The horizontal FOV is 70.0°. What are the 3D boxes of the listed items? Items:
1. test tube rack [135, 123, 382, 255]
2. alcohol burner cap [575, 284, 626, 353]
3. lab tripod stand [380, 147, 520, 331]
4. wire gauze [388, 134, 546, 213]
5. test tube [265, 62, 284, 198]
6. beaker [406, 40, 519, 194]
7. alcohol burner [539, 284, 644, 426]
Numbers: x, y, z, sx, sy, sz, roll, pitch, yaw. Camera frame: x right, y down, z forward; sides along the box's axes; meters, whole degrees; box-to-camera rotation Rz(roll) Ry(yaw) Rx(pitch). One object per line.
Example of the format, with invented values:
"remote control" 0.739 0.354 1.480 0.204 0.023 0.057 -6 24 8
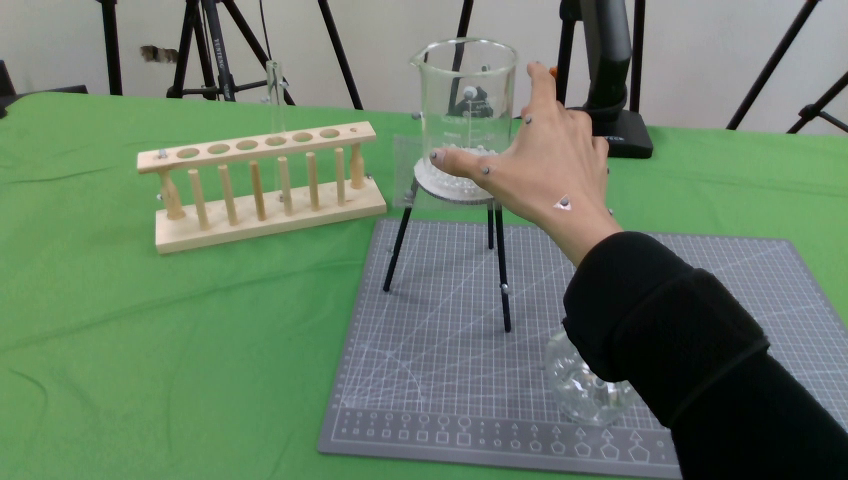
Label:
"test tube rack" -0.171 -0.058 0.655 0.243 0.086 0.066 -11 39 -16
"alcohol burner cap" 0.126 0.053 0.429 0.034 0.048 0.033 0 38 1
"lab tripod stand" 0.031 -0.005 0.545 0.148 0.132 0.147 0 39 0
"wire gauze" 0.031 -0.057 0.505 0.125 0.011 0.120 -2 35 1
"test tube" -0.158 -0.112 0.643 0.017 0.151 0.017 5 32 -2
"beaker" 0.028 -0.094 0.473 0.084 0.101 0.073 4 37 7
"alcohol burner" 0.127 0.081 0.450 0.078 0.120 0.077 1 35 -1
